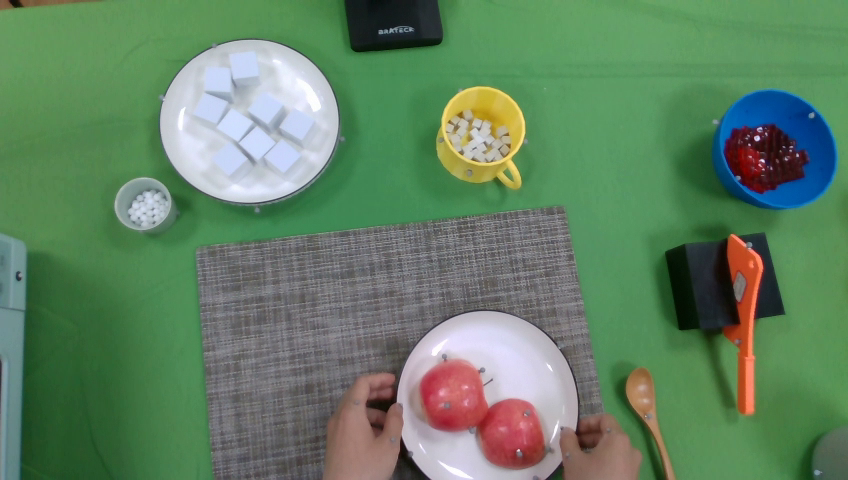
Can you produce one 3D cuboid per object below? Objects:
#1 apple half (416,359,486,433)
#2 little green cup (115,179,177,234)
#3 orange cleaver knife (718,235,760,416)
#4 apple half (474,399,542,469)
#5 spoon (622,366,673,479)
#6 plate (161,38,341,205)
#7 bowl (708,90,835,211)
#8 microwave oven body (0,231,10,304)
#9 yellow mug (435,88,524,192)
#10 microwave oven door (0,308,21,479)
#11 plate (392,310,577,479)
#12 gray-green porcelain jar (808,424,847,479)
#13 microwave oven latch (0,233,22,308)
[{"bbox_3d":[0.030,0.174,0.671,0.075,0.053,0.080,-10,80,-4],"label":"apple half"},{"bbox_3d":[-0.317,-0.036,0.697,0.061,0.039,0.061,1,79,-6],"label":"little green cup"},{"bbox_3d":[0.368,0.101,0.714,0.012,0.077,0.212,-6,103,-2],"label":"orange cleaver knife"},{"bbox_3d":[0.096,0.219,0.678,0.081,0.033,0.081,1,75,-4],"label":"apple half"},{"bbox_3d":[0.271,0.244,0.708,0.042,0.021,0.193,-11,79,-28],"label":"spoon"},{"bbox_3d":[-0.204,-0.140,0.730,0.208,0.039,0.206,1,79,-5],"label":"plate"},{"bbox_3d":[0.418,-0.102,0.760,0.151,0.077,0.150,1,79,-5],"label":"bowl"},{"bbox_3d":[-0.579,0.195,0.511,0.326,0.260,0.440,-4,80,-7],"label":"microwave oven body"},{"bbox_3d":[0.075,-0.114,0.737,0.100,0.064,0.130,-36,85,-11],"label":"yellow mug"},{"bbox_3d":[-0.430,0.227,0.514,0.039,0.244,0.354,-4,79,-6],"label":"microwave oven door"},{"bbox_3d":[0.066,0.184,0.688,0.209,0.038,0.208,1,79,-5],"label":"plate"},{"bbox_3d":[0.510,0.262,0.674,0.106,0.127,0.105,1,78,-5],"label":"gray-green porcelain jar"},{"bbox_3d":[-0.454,0.033,0.653,0.030,0.029,0.079,-2,80,-6],"label":"microwave oven latch"}]
